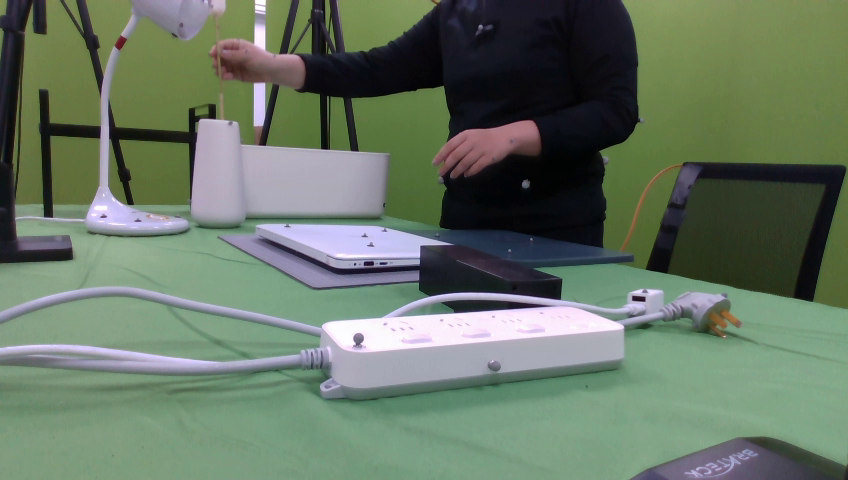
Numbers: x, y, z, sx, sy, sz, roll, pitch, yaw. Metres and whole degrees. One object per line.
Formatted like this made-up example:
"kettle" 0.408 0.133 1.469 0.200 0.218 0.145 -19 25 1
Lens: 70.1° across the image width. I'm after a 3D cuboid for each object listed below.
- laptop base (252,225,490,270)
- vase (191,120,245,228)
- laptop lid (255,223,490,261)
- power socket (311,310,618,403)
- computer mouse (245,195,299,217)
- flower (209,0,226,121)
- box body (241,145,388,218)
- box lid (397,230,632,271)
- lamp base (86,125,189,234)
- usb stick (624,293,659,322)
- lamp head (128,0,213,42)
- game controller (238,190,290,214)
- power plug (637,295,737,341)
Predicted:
"laptop base" -0.096 0.011 0.910 0.237 0.023 0.352 3 6 -32
"vase" -0.389 -0.123 1.143 0.098 0.200 0.098 2 9 0
"laptop lid" -0.093 0.000 0.911 0.243 0.013 0.355 1 7 -30
"power socket" 0.034 0.074 0.415 0.228 0.032 0.072 -1 7 -24
"computer mouse" -0.344 -0.078 1.368 0.118 0.041 0.062 -12 16 -30
"flower" -0.386 -0.310 1.146 0.044 0.361 0.038 -2 -7 -44
"box body" -0.297 -0.143 1.474 0.366 0.160 0.253 -1 9 -30
"box lid" 0.140 0.013 1.045 0.265 0.015 0.369 -1 8 -32
"lamp base" -0.497 -0.105 1.027 0.179 0.180 0.160 1 7 2
"usb stick" 0.211 0.064 0.580 0.021 0.027 0.059 -3 -5 36
"lamp head" -0.423 -0.394 0.980 0.123 0.112 0.112 20 7 -3
"game controller" -0.391 -0.094 1.465 0.097 0.051 0.154 -3 8 -29
"power plug" 0.235 0.078 0.536 0.072 0.035 0.052 -35 40 -4
